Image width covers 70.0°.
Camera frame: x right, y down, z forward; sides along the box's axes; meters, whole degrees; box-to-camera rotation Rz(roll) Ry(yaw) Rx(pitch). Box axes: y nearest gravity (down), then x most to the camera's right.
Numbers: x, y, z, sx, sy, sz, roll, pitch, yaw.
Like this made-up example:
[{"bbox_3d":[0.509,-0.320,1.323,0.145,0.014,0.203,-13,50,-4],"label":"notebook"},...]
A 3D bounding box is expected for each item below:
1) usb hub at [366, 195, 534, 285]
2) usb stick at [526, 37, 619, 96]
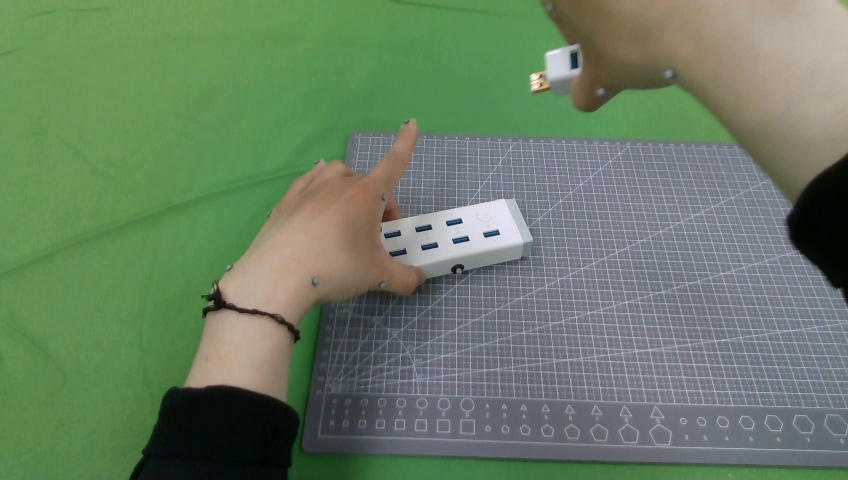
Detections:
[{"bbox_3d":[0.020,-0.002,0.479,0.125,0.025,0.049,-11,55,-10],"label":"usb hub"},{"bbox_3d":[0.090,-0.106,0.379,0.059,0.027,0.021,-7,78,26],"label":"usb stick"}]
